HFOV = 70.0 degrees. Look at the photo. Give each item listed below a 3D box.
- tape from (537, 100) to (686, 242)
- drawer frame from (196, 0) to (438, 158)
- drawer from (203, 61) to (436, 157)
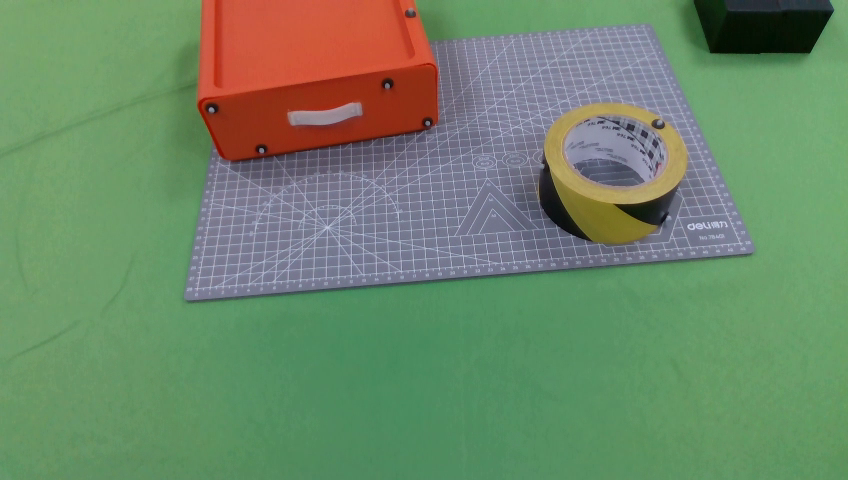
[{"bbox_3d":[0.151,-0.057,0.497,0.117,0.053,0.115,-1,55,2],"label":"tape"},{"bbox_3d":[-0.106,-0.191,0.583,0.202,0.083,0.211,-11,54,-5],"label":"drawer frame"},{"bbox_3d":[-0.104,-0.189,0.582,0.195,0.074,0.209,-11,55,-4],"label":"drawer"}]
